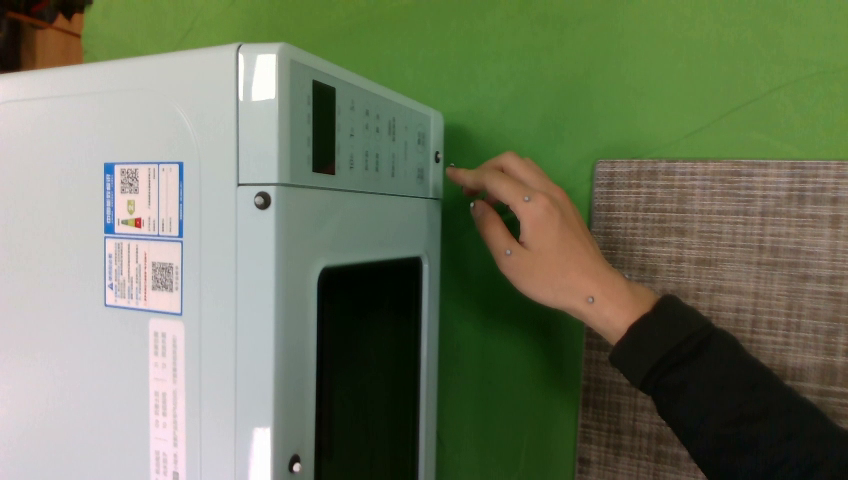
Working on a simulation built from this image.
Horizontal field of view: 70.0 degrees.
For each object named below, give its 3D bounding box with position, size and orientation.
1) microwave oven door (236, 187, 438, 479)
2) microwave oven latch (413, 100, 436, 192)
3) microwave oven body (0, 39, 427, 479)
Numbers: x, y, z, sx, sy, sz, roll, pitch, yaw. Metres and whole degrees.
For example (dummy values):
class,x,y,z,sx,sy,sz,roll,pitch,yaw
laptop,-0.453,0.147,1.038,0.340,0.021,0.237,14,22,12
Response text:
class,x,y,z,sx,sy,sz,roll,pitch,yaw
microwave oven door,-0.051,0.140,0.457,0.039,0.245,0.356,2,93,24
microwave oven latch,-0.005,-0.082,0.536,0.030,0.029,0.079,2,94,23
microwave oven body,-0.183,0.093,0.516,0.324,0.261,0.442,2,94,23
